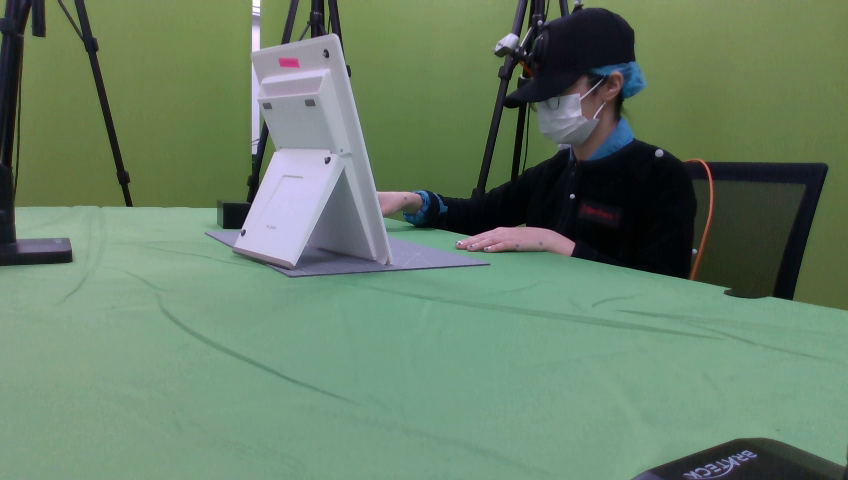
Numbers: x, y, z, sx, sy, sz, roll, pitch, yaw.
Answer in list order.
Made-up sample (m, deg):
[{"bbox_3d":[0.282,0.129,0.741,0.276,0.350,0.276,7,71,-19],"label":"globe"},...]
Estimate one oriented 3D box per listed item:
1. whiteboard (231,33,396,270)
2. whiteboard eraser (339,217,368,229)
[{"bbox_3d":[-0.193,-0.094,0.805,0.144,0.305,0.216,-29,25,-35],"label":"whiteboard"},{"bbox_3d":[-0.145,-0.037,1.246,0.041,0.019,0.101,12,6,9],"label":"whiteboard eraser"}]
